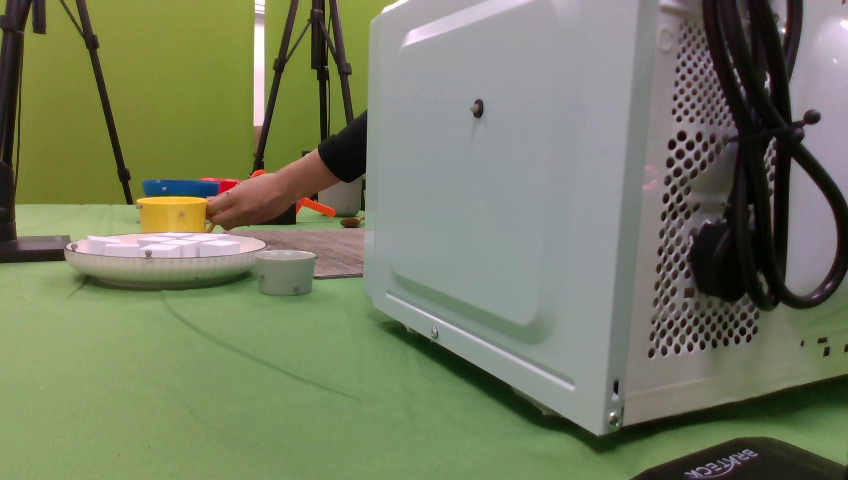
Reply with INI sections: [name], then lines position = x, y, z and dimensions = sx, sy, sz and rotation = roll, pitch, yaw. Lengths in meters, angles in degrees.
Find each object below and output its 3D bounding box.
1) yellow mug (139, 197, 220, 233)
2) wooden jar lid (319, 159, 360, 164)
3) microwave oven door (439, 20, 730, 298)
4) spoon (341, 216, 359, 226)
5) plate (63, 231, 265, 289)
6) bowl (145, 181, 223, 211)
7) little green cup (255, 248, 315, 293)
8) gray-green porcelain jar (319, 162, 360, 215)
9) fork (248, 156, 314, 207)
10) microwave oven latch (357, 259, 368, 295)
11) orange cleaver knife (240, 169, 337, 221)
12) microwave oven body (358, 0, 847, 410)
[yellow mug]
position = -0.373, -0.032, 0.943
dimensions = 0.099, 0.064, 0.131
rotation = 7, 10, 31
[wooden jar lid]
position = -0.203, -0.189, 1.481
dimensions = 0.108, 0.020, 0.108
rotation = 2, 10, 0
[microwave oven door]
position = 0.181, -0.076, 0.618
dimensions = 0.358, 0.243, 0.039
rotation = -2, 8, -28
[spoon]
position = -0.132, -0.048, 1.305
dimensions = 0.041, 0.021, 0.194
rotation = -14, 4, 14
[plate]
position = -0.288, 0.021, 0.687
dimensions = 0.208, 0.039, 0.207
rotation = 2, 8, 0
[bowl]
position = -0.499, -0.081, 1.261
dimensions = 0.151, 0.077, 0.151
rotation = 2, 7, 0
[little green cup]
position = -0.144, 0.031, 0.627
dimensions = 0.061, 0.038, 0.061
rotation = 2, 6, 0
[gray-green porcelain jar]
position = -0.204, -0.126, 1.489
dimensions = 0.106, 0.126, 0.106
rotation = 2, 7, 0
[fork]
position = -0.360, -0.147, 1.523
dimensions = 0.207, 0.019, 0.028
rotation = -43, 17, -6
[microwave oven latch]
position = -0.019, 0.031, 0.529
dimensions = 0.079, 0.029, 0.030
rotation = -1, 7, -26
[orange cleaver knife]
position = -0.286, -0.082, 1.298
dimensions = 0.212, 0.077, 0.012
rotation = 25, -2, -31
[microwave oven body]
position = 0.210, -0.051, 0.471
dimensions = 0.444, 0.260, 0.324
rotation = -1, 7, -28
